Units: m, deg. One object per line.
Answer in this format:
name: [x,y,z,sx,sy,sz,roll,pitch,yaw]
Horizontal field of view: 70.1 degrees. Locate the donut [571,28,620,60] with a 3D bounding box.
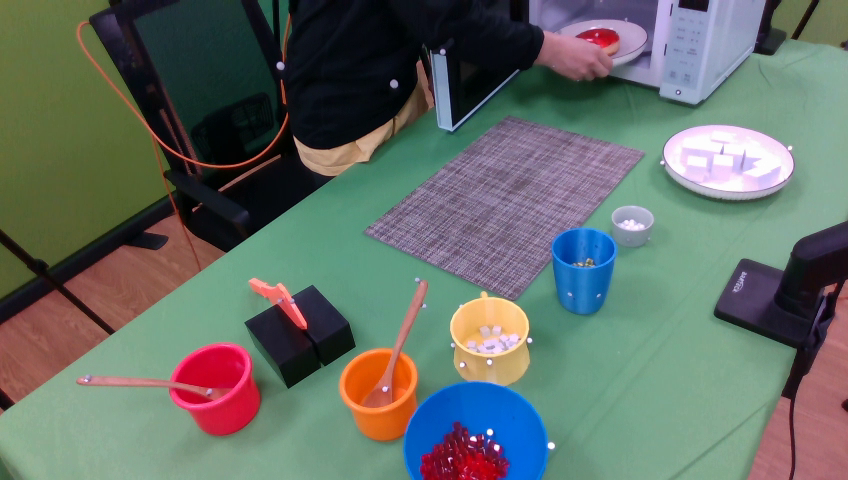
donut: [0.357,-0.411,1.260,0.099,0.048,0.098,-7,39,6]

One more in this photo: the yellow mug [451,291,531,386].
yellow mug: [0.085,0.120,0.786,0.100,0.064,0.130,-7,39,1]

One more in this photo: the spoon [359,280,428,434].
spoon: [-0.032,0.138,0.719,0.041,0.193,0.022,22,4,30]

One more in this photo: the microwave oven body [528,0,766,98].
microwave oven body: [0.472,-0.513,1.317,0.438,0.261,0.327,26,51,34]

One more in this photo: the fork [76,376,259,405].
fork: [-0.295,0.176,0.716,0.209,0.018,0.028,19,27,-37]

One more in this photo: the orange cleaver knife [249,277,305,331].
orange cleaver knife: [-0.210,0.088,0.856,0.012,0.077,0.210,-28,15,-25]

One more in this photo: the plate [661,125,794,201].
plate: [0.513,-0.128,1.035,0.207,0.039,0.206,-4,40,4]

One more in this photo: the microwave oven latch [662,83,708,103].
microwave oven latch: [0.518,-0.297,1.204,0.030,0.029,0.078,-37,47,-29]

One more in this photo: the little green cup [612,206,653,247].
little green cup: [0.321,-0.019,0.936,0.061,0.039,0.061,-4,41,4]

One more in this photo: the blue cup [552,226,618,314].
blue cup: [0.218,0.047,0.825,0.092,0.101,0.092,-6,40,5]

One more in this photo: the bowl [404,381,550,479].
bowl: [0.058,0.235,0.645,0.151,0.077,0.150,-4,39,4]

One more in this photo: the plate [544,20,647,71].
plate: [0.359,-0.405,1.272,0.209,0.038,0.208,-7,39,6]

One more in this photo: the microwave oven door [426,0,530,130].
microwave oven door: [0.124,-0.418,1.250,0.039,0.245,0.356,19,47,29]
